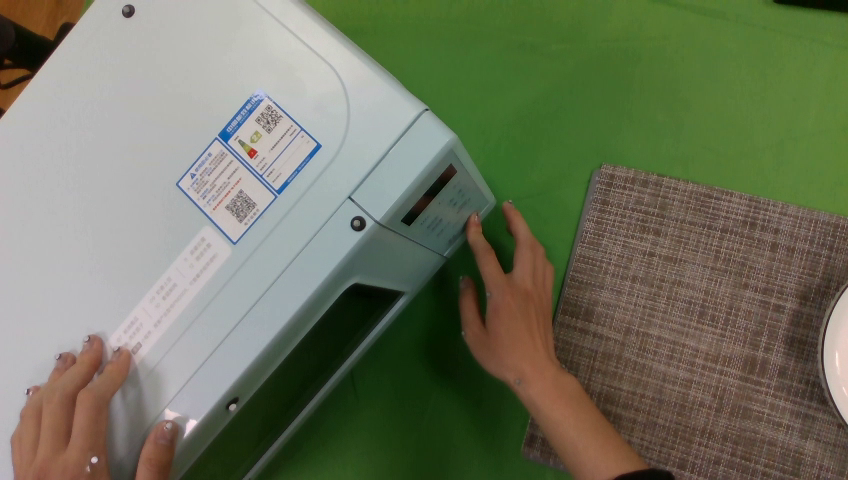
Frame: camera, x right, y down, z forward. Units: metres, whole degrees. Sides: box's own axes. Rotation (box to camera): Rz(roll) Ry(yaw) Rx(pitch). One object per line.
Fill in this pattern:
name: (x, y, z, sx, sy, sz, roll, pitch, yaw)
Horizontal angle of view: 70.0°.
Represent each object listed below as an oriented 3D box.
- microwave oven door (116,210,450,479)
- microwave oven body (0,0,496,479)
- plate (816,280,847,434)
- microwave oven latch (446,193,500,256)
microwave oven door: (-0.128, 0.129, 0.527, 0.039, 0.245, 0.356, 42, 94, 16)
microwave oven body: (-0.204, 0.003, 0.565, 0.324, 0.261, 0.442, 42, 95, 14)
plate: (0.444, 0.104, 0.512, 0.207, 0.039, 0.207, -2, 83, 13)
microwave oven latch: (0.042, -0.022, 0.609, 0.030, 0.029, 0.079, 44, 95, 14)
